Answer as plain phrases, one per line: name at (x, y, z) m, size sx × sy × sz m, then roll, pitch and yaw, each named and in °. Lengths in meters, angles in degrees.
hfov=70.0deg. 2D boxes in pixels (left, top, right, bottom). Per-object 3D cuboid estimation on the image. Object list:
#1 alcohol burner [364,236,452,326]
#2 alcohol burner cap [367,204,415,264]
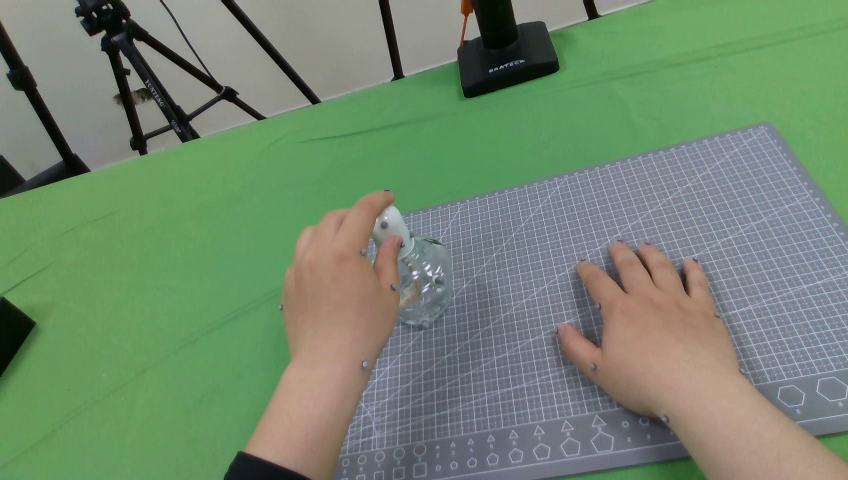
alcohol burner at (-0.018, 0.017, 0.502) m, size 0.078 × 0.120 × 0.077 m, roll -11°, pitch 44°, yaw 11°
alcohol burner cap at (-0.028, -0.008, 0.477) m, size 0.034 × 0.048 × 0.033 m, roll -8°, pitch 48°, yaw 9°
